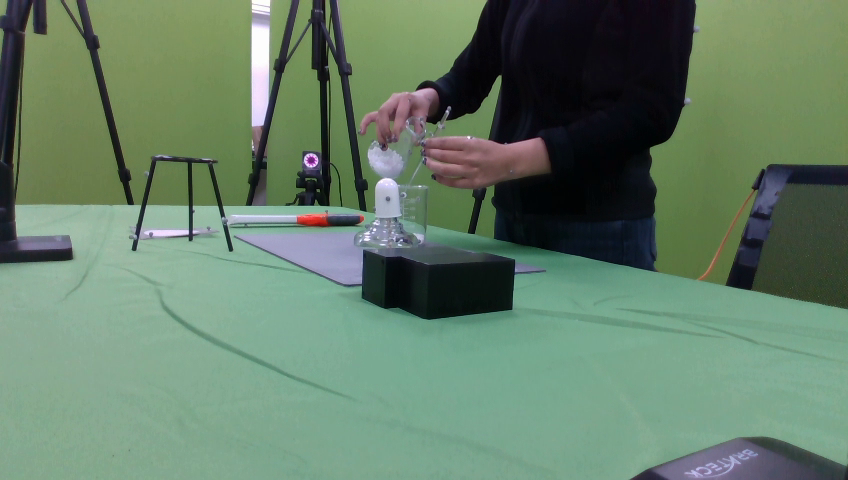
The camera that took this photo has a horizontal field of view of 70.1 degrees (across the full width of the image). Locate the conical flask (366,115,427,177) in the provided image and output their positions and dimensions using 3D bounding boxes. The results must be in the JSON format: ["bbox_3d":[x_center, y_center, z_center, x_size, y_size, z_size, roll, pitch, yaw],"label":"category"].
[{"bbox_3d":[-0.041,-0.163,1.018,0.076,0.075,0.121,-3,-21,-34],"label":"conical flask"}]

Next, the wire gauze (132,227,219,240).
[{"bbox_3d":[-0.421,-0.014,1.024,0.122,0.011,0.124,-2,7,-34],"label":"wire gauze"}]

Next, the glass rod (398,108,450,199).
[{"bbox_3d":[-0.006,-0.129,0.963,0.008,0.199,0.008,20,39,-17],"label":"glass rod"}]

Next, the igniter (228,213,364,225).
[{"bbox_3d":[-0.252,-0.043,1.227,0.278,0.025,0.057,-2,-2,-32],"label":"igniter"}]

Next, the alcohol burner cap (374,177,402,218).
[{"bbox_3d":[-0.044,-0.049,0.704,0.034,0.048,0.034,-4,9,1],"label":"alcohol burner cap"}]

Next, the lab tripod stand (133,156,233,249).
[{"bbox_3d":[-0.342,-0.054,0.878,0.148,0.131,0.148,4,6,0],"label":"lab tripod stand"}]

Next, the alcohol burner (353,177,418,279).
[{"bbox_3d":[-0.044,-0.014,0.710,0.078,0.119,0.078,4,9,0],"label":"alcohol burner"}]

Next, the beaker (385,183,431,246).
[{"bbox_3d":[-0.031,-0.043,1.000,0.084,0.100,0.074,4,7,15],"label":"beaker"}]
